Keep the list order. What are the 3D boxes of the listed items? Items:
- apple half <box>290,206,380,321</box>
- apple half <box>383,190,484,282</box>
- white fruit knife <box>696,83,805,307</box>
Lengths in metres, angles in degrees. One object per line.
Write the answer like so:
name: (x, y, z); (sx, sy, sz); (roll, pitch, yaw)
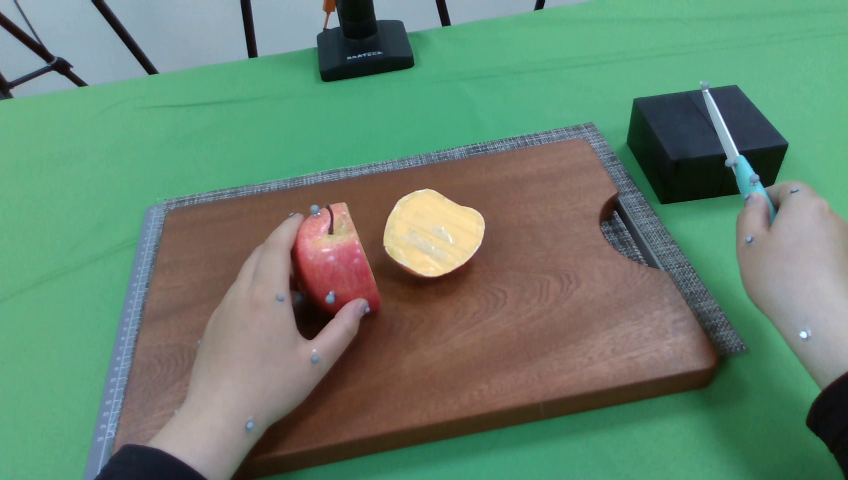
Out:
apple half: (-0.068, 0.022, 0.440); (0.053, 0.075, 0.080); (-21, 48, -7)
apple half: (0.005, 0.003, 0.478); (0.081, 0.033, 0.080); (-1, 60, 2)
white fruit knife: (0.235, -0.047, 0.451); (0.016, 0.028, 0.205); (-12, 54, 11)
